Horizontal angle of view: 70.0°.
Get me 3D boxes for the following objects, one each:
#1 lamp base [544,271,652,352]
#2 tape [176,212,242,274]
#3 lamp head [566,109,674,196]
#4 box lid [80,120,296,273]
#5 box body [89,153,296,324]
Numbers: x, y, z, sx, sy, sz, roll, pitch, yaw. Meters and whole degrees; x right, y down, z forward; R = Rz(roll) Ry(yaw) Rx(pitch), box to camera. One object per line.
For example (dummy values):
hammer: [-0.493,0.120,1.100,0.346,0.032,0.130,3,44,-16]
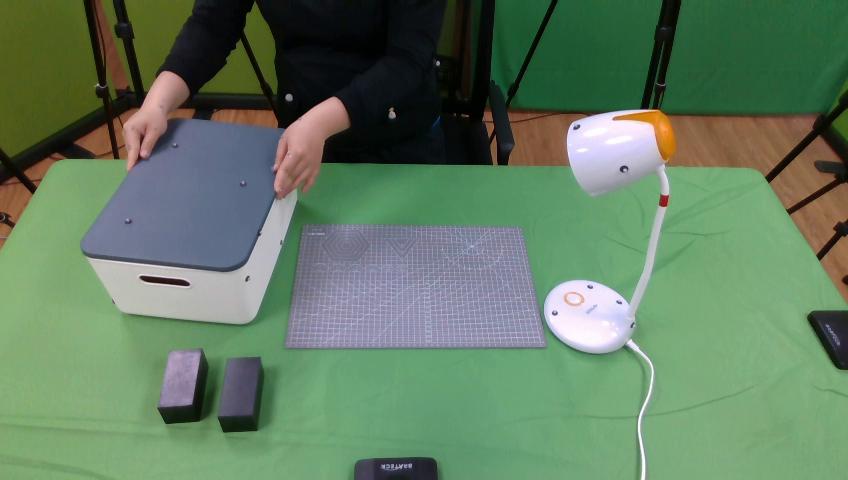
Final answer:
lamp base: [0.309,0.086,1.029,0.178,0.181,0.160,32,52,21]
tape: [-0.401,0.005,1.133,0.117,0.053,0.116,2,46,-2]
lamp head: [0.272,-0.123,0.818,0.122,0.113,0.112,-9,35,37]
box lid: [-0.390,-0.089,1.048,0.263,0.015,0.369,6,45,1]
box body: [-0.393,-0.035,1.104,0.254,0.161,0.362,5,46,1]
